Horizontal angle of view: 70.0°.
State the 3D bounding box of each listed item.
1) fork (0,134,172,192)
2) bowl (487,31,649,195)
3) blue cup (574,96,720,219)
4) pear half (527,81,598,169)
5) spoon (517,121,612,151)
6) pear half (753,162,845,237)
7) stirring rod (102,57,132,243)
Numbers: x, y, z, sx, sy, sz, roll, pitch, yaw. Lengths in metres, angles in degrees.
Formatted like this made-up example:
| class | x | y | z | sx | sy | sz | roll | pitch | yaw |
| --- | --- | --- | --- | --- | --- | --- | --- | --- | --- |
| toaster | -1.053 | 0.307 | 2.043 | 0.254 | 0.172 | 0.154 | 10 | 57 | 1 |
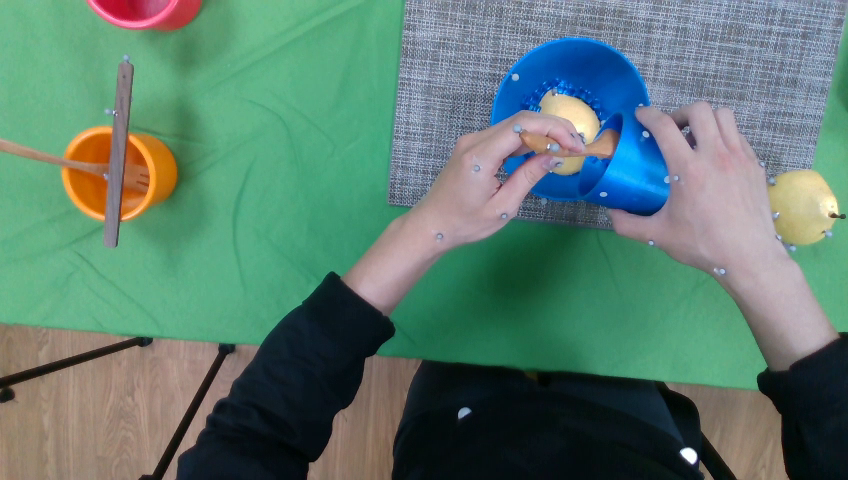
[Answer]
| class | x | y | z | sx | sy | sz | roll | pitch | yaw |
| --- | --- | --- | --- | --- | --- | --- | --- | --- | --- |
| fork | -0.343 | -0.080 | 0.573 | 0.209 | 0.018 | 0.028 | 15 | 115 | -48 |
| bowl | 0.134 | -0.123 | 0.601 | 0.151 | 0.076 | 0.152 | 0 | 102 | 0 |
| blue cup | 0.198 | -0.063 | 0.534 | 0.100 | 0.092 | 0.093 | 20 | 101 | -3 |
| pear half | 0.138 | -0.115 | 0.596 | 0.070 | 0.031 | 0.088 | -20 | 96 | 0 |
| spoon | 0.121 | -0.077 | 0.469 | 0.021 | 0.194 | 0.041 | -33 | 76 | 38 |
| pear half | 0.371 | -0.037 | 0.605 | 0.056 | 0.109 | 0.076 | -13 | 98 | 3 |
| stirring rod | -0.290 | -0.082 | 0.572 | 0.014 | 0.006 | 0.176 | 10 | 102 | -5 |
